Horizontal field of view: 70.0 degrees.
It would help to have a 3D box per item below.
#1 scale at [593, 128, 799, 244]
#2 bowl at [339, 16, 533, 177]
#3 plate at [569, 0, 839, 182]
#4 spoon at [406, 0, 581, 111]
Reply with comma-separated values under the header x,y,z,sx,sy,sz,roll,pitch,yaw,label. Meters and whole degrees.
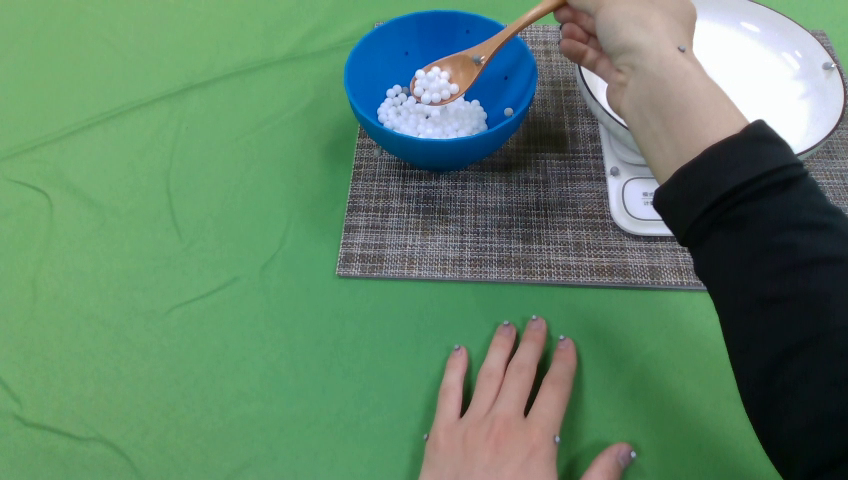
x,y,z,sx,sy,sz,roll,pitch,yaw,label
0.219,-0.086,0.511,0.148,0.032,0.199,1,56,2,scale
0.010,-0.105,0.498,0.151,0.077,0.150,0,56,1,bowl
0.221,-0.124,0.496,0.209,0.038,0.207,0,56,0,plate
0.071,-0.154,0.453,0.193,0.022,0.041,-30,62,17,spoon
